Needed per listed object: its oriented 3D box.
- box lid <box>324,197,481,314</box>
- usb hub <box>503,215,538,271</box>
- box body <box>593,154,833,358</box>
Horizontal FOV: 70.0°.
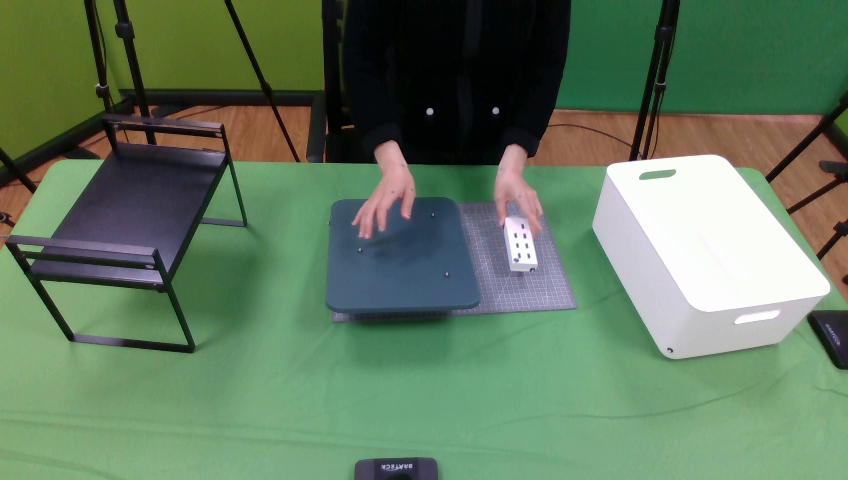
[{"bbox_3d":[-0.048,0.013,1.131,0.263,0.015,0.369,-1,33,-6],"label":"box lid"},{"bbox_3d":[0.182,0.004,1.156,0.049,0.025,0.124,1,48,-5],"label":"usb hub"},{"bbox_3d":[0.497,0.023,1.112,0.254,0.161,0.361,-7,47,-10],"label":"box body"}]
